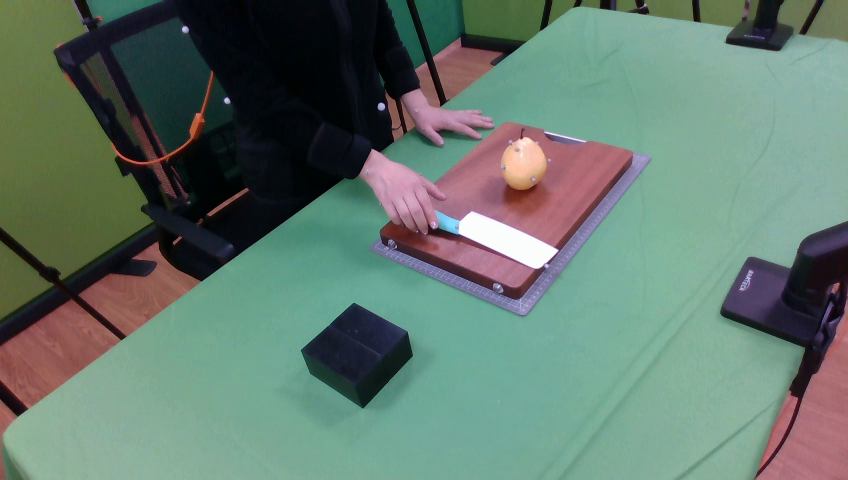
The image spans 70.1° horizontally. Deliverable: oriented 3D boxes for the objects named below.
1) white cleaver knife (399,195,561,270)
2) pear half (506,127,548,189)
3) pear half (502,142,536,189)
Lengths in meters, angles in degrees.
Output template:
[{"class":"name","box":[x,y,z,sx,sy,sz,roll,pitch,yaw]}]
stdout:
[{"class":"white cleaver knife","box":[0.079,-0.018,0.958,0.284,0.021,0.066,25,44,28]},{"class":"pear half","box":[0.174,-0.145,1.011,0.076,0.110,0.056,27,52,30]},{"class":"pear half","box":[0.152,-0.119,1.000,0.070,0.088,0.031,28,53,30]}]
